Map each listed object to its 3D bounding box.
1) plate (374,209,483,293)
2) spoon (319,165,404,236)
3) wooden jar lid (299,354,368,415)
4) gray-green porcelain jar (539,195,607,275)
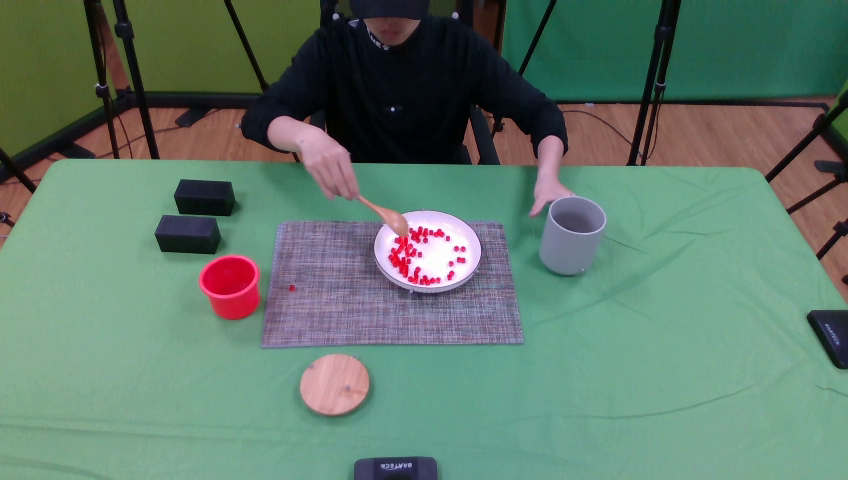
[{"bbox_3d":[0.008,0.024,1.158,0.208,0.039,0.206,2,46,-2],"label":"plate"},{"bbox_3d":[-0.111,-0.071,1.085,0.194,0.022,0.041,35,29,-4],"label":"spoon"},{"bbox_3d":[-0.143,0.232,0.964,0.108,0.021,0.107,2,45,-2],"label":"wooden jar lid"},{"bbox_3d":[0.278,-0.004,1.148,0.106,0.127,0.105,2,46,-2],"label":"gray-green porcelain jar"}]
